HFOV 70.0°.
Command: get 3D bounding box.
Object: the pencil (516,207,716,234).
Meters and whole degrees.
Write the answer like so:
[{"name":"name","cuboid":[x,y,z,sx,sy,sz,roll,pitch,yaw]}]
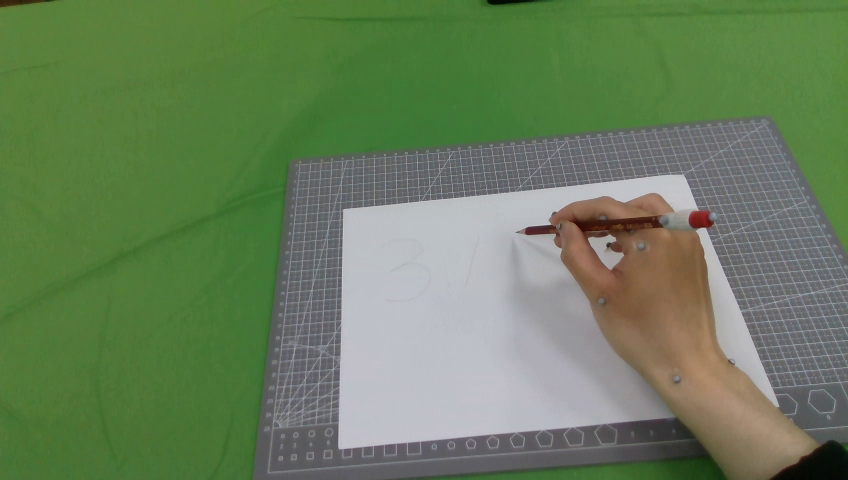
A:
[{"name":"pencil","cuboid":[0.113,-0.010,0.406,0.012,0.193,0.012,0,89,-23]}]
